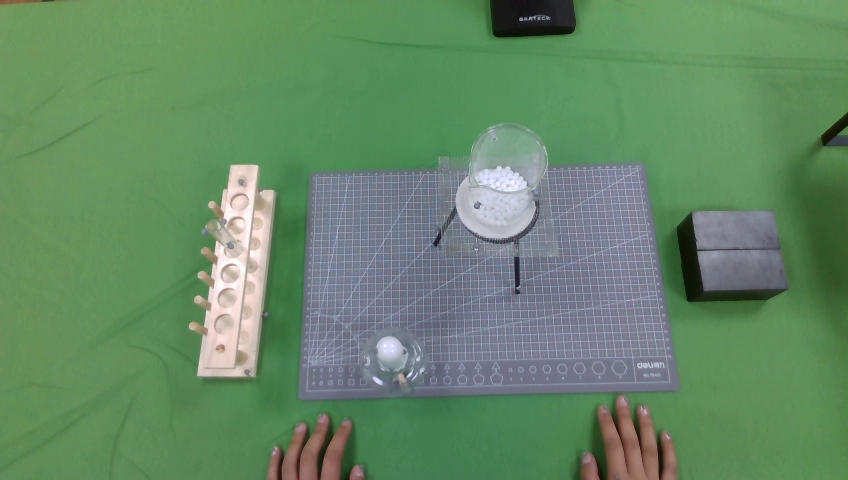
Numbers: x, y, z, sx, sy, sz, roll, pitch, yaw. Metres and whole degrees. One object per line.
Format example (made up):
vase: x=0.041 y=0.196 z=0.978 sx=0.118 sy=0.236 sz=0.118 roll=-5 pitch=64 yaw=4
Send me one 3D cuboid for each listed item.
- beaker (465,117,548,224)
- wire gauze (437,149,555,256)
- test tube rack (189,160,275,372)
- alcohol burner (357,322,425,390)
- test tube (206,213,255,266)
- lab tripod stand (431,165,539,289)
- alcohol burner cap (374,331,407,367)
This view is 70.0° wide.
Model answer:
beaker: x=0.076 y=-0.062 z=0.609 sx=0.084 sy=0.101 sz=0.073 roll=-34 pitch=74 yaw=-11
wire gauze: x=0.076 y=-0.042 z=0.652 sx=0.125 sy=0.011 sz=0.120 roll=0 pitch=71 yaw=-2
test tube rack: x=-0.235 y=0.031 z=0.729 sx=0.067 sy=0.086 sz=0.240 roll=1 pitch=71 yaw=1
alcohol burner: x=-0.037 y=0.127 z=0.676 sx=0.078 sy=0.120 sz=0.077 roll=0 pitch=70 yaw=-1
test tube: x=-0.216 y=0.003 z=0.686 sx=0.017 sy=0.151 sz=0.017 roll=1 pitch=72 yaw=-1
lab tripod stand: x=0.081 y=-0.024 z=0.716 sx=0.148 sy=0.132 sz=0.147 roll=0 pitch=69 yaw=2
alcohol burner cap: x=-0.037 y=0.114 z=0.642 sx=0.034 sy=0.048 sz=0.033 roll=-2 pitch=67 yaw=6
